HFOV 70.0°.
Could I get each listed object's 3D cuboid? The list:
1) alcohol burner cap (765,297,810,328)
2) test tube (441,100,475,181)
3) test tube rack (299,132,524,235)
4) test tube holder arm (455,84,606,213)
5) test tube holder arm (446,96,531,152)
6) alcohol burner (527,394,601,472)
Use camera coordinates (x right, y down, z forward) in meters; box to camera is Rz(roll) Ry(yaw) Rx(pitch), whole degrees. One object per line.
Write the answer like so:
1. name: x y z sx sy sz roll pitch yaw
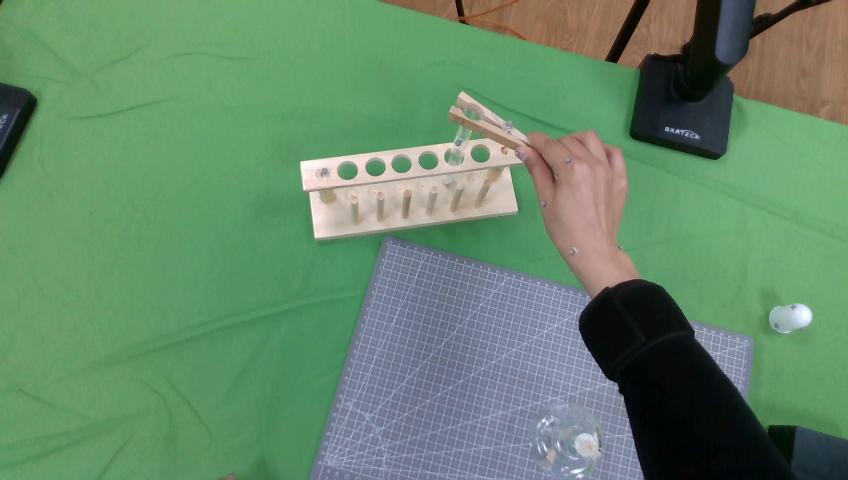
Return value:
1. alcohol burner cap: 0.424 0.083 0.702 0.034 0.048 0.033 1 74 -3
2. test tube: 0.034 -0.101 0.649 0.017 0.151 0.017 2 68 -5
3. test tube rack: -0.012 -0.065 0.687 0.243 0.085 0.066 -8 75 -6
4. test tube holder arm: 0.101 -0.087 0.575 0.178 0.015 0.013 40 59 6
5. test tube holder arm: 0.062 -0.110 0.574 0.088 0.015 0.010 27 58 -2
6. alcohol burner: 0.146 0.196 0.614 0.078 0.119 0.077 1 77 -4
